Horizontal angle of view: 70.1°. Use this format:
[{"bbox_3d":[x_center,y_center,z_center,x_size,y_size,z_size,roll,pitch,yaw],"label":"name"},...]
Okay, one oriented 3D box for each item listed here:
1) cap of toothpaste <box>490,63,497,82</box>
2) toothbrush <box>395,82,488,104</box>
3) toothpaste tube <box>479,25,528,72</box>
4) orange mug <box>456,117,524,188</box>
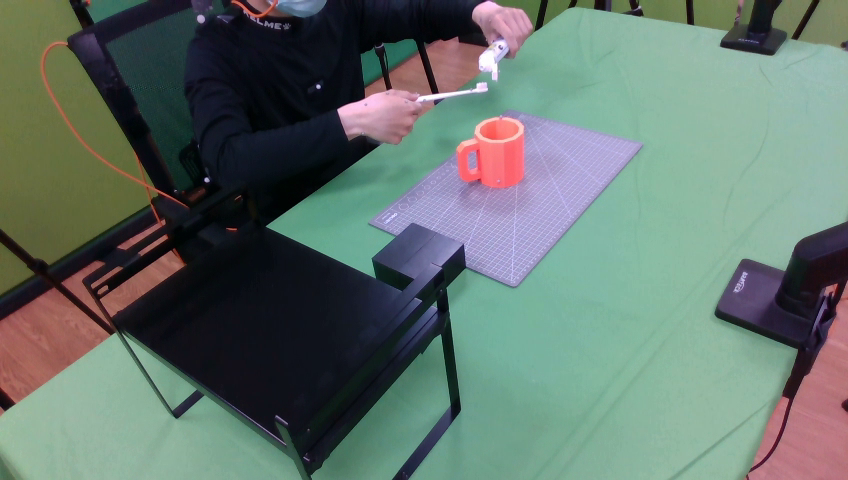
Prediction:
[{"bbox_3d":[0.130,-0.314,1.132,0.011,0.037,0.037,-2,40,-1],"label":"cap of toothpaste"},{"bbox_3d":[0.034,-0.277,1.144,0.182,0.017,0.014,-12,42,-11],"label":"toothbrush"},{"bbox_3d":[0.151,-0.380,1.189,0.054,0.035,0.165,5,45,36],"label":"toothpaste tube"},{"bbox_3d":[0.117,-0.152,1.071,0.127,0.101,0.083,-14,41,-14],"label":"orange mug"}]
